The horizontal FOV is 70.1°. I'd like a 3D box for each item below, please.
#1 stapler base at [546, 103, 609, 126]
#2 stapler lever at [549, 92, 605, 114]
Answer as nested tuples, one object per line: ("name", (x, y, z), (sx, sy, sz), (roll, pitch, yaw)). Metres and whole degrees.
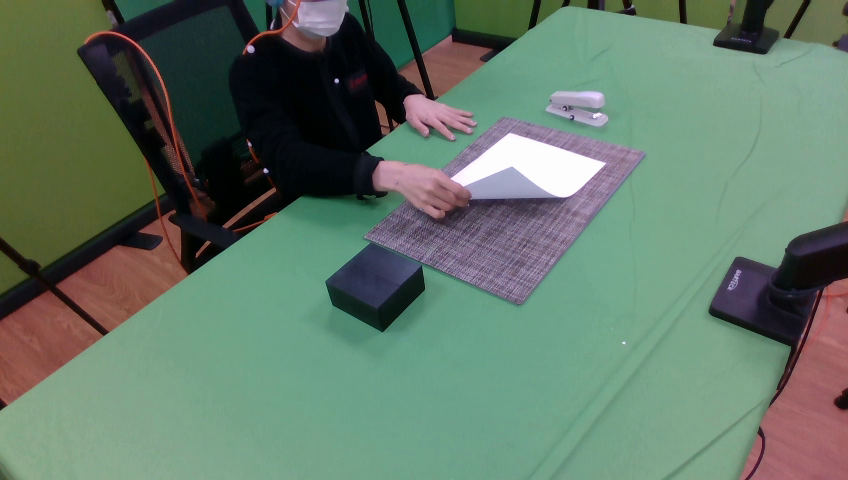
("stapler base", (0.313, -0.265, 1.235), (0.129, 0.024, 0.041), (26, 49, 35))
("stapler lever", (0.309, -0.285, 1.220), (0.117, 0.040, 0.027), (26, 49, 36))
